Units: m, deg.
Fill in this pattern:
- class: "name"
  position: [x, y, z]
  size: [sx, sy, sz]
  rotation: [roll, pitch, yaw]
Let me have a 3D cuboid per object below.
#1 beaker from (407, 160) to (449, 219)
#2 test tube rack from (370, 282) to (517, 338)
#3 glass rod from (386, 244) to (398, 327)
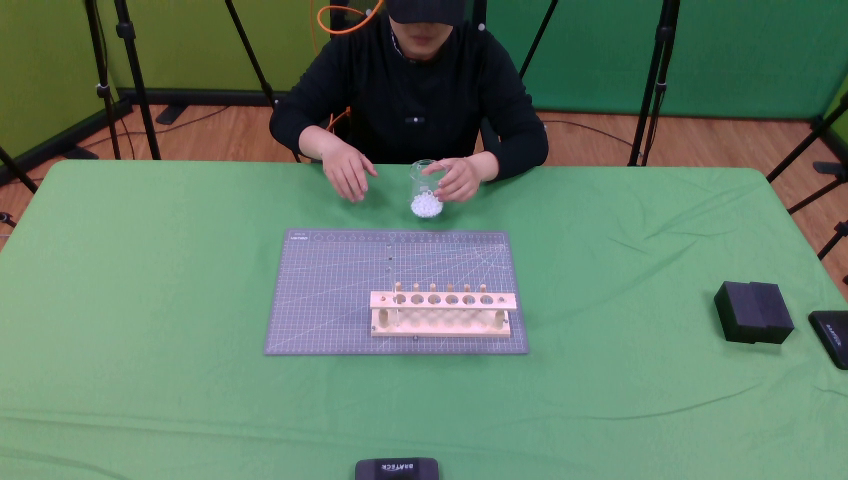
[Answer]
- class: "beaker"
  position: [0.008, -0.100, 1.211]
  size: [0.084, 0.101, 0.073]
  rotation: [-15, 48, -17]
- class: "test tube rack"
  position: [0.030, 0.116, 1.041]
  size: [0.242, 0.085, 0.066]
  rotation: [1, 46, -3]
- class: "glass rod"
  position: [-0.051, 0.078, 0.979]
  size: [0.008, 0.201, 0.008]
  rotation: [-1, 45, 1]
